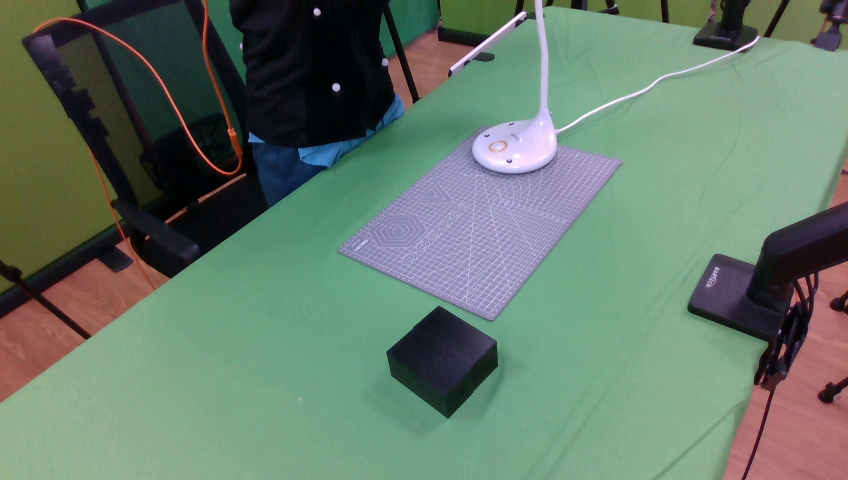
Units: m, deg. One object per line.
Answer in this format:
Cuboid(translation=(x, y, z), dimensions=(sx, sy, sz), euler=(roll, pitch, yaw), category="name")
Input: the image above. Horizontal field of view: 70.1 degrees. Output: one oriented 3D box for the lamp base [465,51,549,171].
Cuboid(translation=(0.159, -0.243, 1.103), dimensions=(0.180, 0.181, 0.159), euler=(-31, 46, -29), category="lamp base")
